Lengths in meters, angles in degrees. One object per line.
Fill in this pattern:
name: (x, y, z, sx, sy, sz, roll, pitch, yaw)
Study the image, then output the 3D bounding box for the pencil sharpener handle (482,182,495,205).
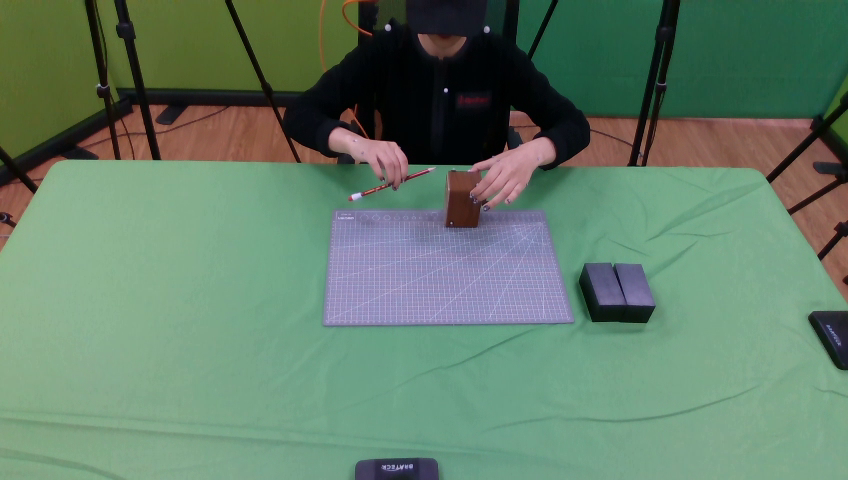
pencil sharpener handle: (0.132, -0.093, 1.217, 0.031, 0.068, 0.036, 1, 57, -4)

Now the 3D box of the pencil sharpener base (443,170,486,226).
pencil sharpener base: (0.080, -0.083, 1.221, 0.077, 0.107, 0.061, 1, 46, -4)

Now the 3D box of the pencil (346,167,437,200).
pencil: (-0.064, -0.113, 1.195, 0.194, 0.012, 0.012, -18, 45, 12)
